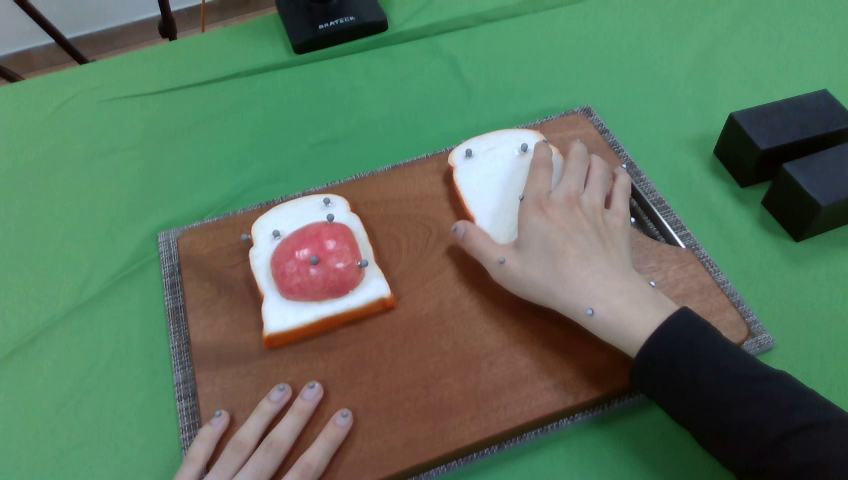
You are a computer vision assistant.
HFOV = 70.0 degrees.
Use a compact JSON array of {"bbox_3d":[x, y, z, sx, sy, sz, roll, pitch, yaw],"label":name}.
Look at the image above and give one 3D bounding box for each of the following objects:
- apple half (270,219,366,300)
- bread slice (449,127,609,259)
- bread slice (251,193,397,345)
[{"bbox_3d":[-0.086,0.010,0.475,0.081,0.033,0.080,-1,53,2],"label":"apple half"},{"bbox_3d":[0.080,-0.047,0.531,0.107,0.018,0.133,-19,54,-10],"label":"bread slice"},{"bbox_3d":[-0.092,0.015,0.501,0.105,0.019,0.130,-18,55,-10],"label":"bread slice"}]
